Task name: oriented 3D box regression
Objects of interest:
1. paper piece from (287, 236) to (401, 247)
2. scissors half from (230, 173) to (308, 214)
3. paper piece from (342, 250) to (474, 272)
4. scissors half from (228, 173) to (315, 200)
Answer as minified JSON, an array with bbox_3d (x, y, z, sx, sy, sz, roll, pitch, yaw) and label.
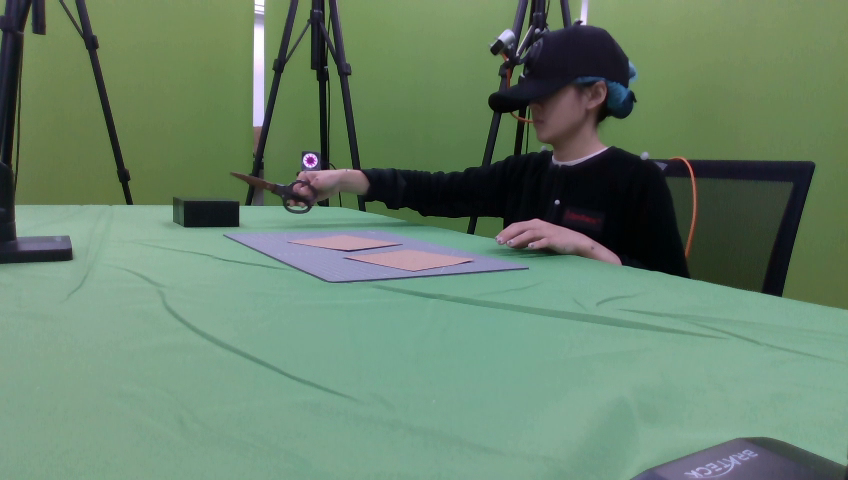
[{"bbox_3d":[-0.130,0.004,0.986,0.137,0.008,0.137,7,4,35],"label":"paper piece"},{"bbox_3d":[-0.311,-0.095,1.215,0.176,0.040,0.013,28,11,-32],"label":"scissors half"},{"bbox_3d":[-0.023,0.027,0.848,0.135,0.004,0.136,8,9,39],"label":"paper piece"},{"bbox_3d":[-0.303,-0.112,1.209,0.176,0.040,0.012,9,25,-27],"label":"scissors half"}]
